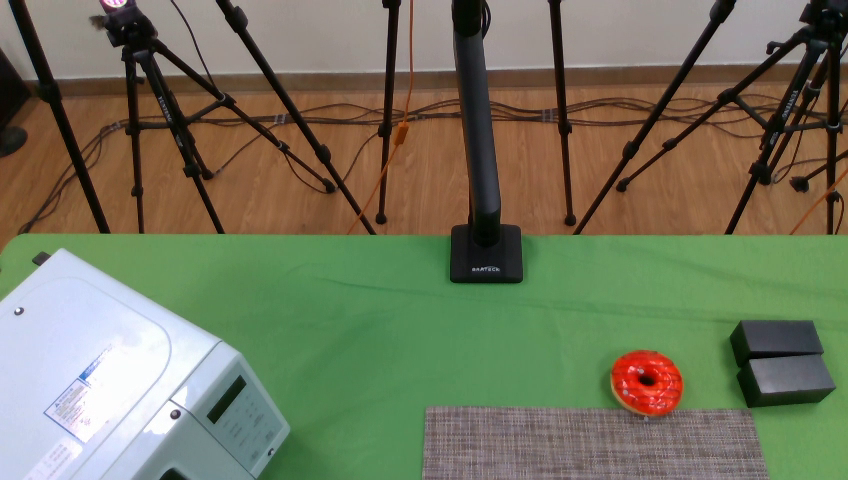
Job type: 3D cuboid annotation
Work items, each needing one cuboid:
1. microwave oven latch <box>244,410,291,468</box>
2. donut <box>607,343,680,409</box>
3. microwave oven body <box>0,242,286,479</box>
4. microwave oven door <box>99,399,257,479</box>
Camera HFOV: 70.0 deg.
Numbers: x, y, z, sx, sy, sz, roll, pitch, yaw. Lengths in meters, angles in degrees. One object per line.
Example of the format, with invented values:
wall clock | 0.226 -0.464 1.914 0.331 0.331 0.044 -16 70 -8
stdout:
microwave oven latch | -0.214 0.264 0.819 0.030 0.030 0.079 26 60 21
donut | 0.308 0.191 0.851 0.099 0.049 0.098 -4 50 6
microwave oven body | -0.438 0.277 0.705 0.324 0.262 0.440 24 60 20
microwave oven door | -0.334 0.358 0.631 0.039 0.246 0.354 23 59 21
